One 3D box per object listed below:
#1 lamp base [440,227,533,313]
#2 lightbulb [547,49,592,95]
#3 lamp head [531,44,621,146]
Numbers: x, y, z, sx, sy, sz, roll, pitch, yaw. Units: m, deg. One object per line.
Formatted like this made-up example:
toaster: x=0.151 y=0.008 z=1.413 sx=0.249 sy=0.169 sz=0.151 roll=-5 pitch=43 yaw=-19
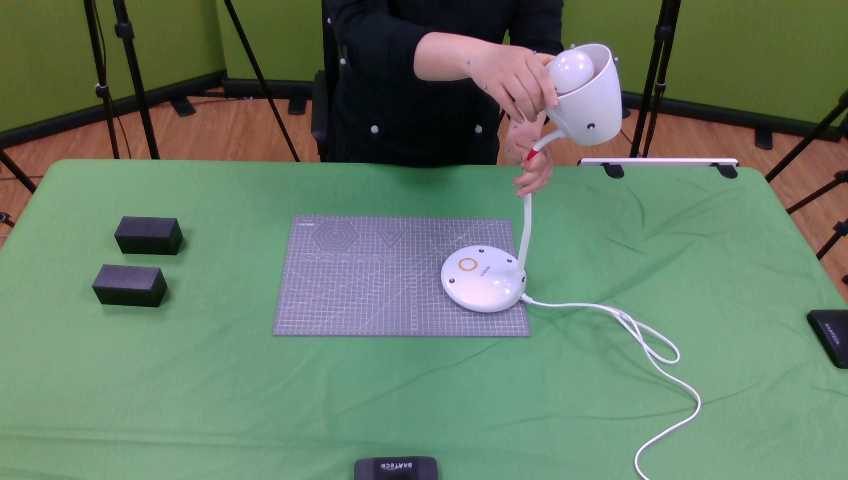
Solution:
lamp base: x=0.126 y=0.021 z=1.072 sx=0.179 sy=0.181 sz=0.160 roll=22 pitch=49 yaw=13
lightbulb: x=0.208 y=-0.213 z=0.839 sx=0.059 sy=0.108 sz=0.059 roll=-18 pitch=43 yaw=18
lamp head: x=0.219 y=-0.189 z=0.843 sx=0.112 sy=0.123 sz=0.111 roll=-20 pitch=38 yaw=17
